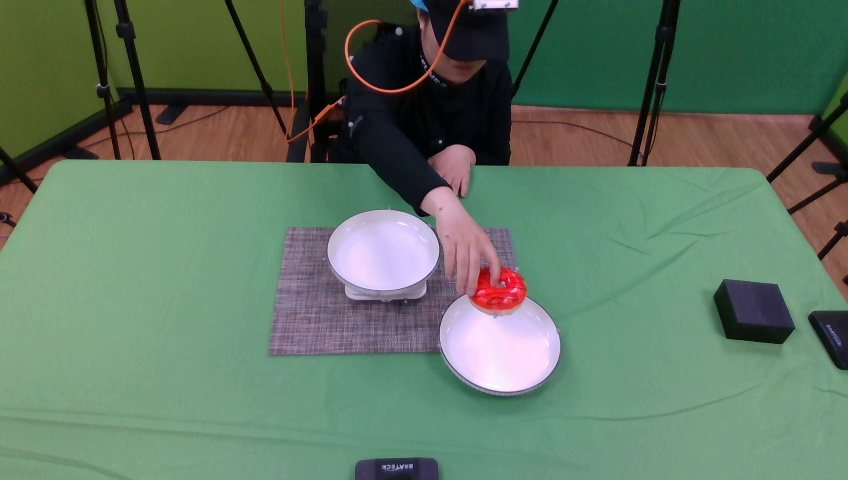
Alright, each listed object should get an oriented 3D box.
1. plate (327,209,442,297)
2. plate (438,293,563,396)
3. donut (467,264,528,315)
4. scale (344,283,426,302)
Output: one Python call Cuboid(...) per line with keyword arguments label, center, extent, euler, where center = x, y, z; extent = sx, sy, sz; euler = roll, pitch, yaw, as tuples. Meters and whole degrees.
Cuboid(label="plate", center=(-0.071, 0.027, 1.110), extent=(0.208, 0.039, 0.206), euler=(2, 46, -1))
Cuboid(label="plate", center=(0.127, 0.173, 1.025), extent=(0.209, 0.038, 0.208), euler=(3, 48, -3))
Cuboid(label="donut", center=(0.117, 0.078, 0.971), extent=(0.099, 0.048, 0.098), euler=(-1, 42, 1))
Cuboid(label="scale", center=(-0.075, 0.033, 1.149), extent=(0.149, 0.032, 0.199), euler=(0, 46, -5))
